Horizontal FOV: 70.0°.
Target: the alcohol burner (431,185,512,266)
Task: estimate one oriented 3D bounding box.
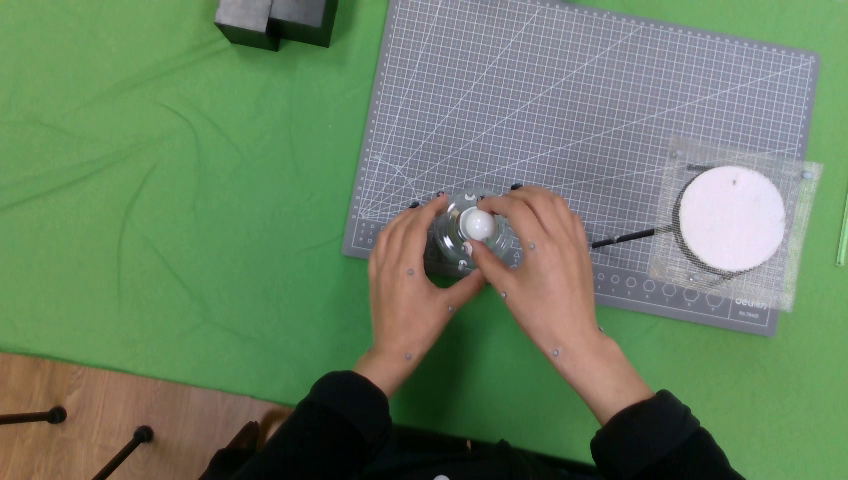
[{"bbox_3d":[0.045,-0.014,0.563,0.078,0.119,0.078,0,89,-1],"label":"alcohol burner"}]

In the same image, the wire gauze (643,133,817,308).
[{"bbox_3d":[0.246,-0.017,0.489,0.125,0.011,0.121,12,89,1],"label":"wire gauze"}]

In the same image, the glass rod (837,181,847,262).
[{"bbox_3d":[0.444,-0.075,0.625,0.008,0.008,0.199,10,87,-1],"label":"glass rod"}]

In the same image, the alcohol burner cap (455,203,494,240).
[{"bbox_3d":[0.046,-0.016,0.527,0.034,0.048,0.034,0,94,-5],"label":"alcohol burner cap"}]

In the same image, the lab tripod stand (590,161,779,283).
[{"bbox_3d":[0.241,-0.013,0.556,0.148,0.131,0.148,0,89,0],"label":"lab tripod stand"}]
